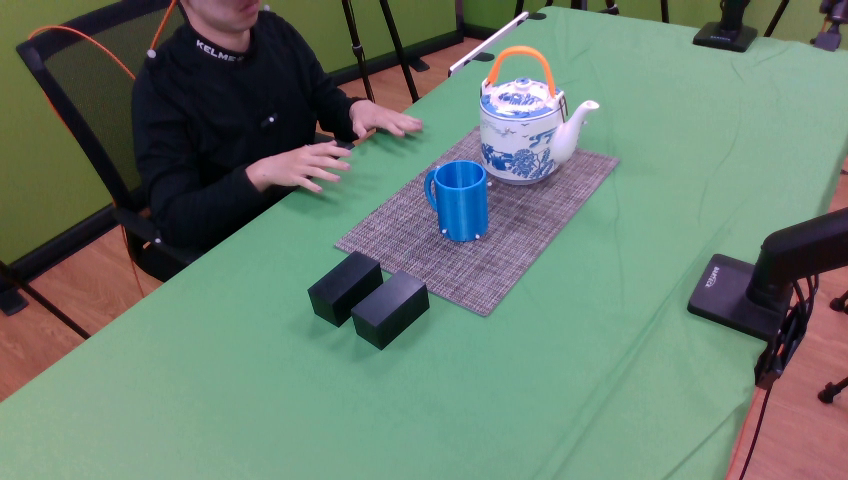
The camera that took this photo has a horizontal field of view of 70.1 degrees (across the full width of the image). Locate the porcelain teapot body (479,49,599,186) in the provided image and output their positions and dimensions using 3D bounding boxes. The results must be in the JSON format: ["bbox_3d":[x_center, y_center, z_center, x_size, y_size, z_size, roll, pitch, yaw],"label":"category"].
[{"bbox_3d":[0.192,-0.208,1.023,0.204,0.226,0.145,17,46,25],"label":"porcelain teapot body"}]

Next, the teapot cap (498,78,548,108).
[{"bbox_3d":[0.165,-0.246,1.010,0.085,0.044,0.084,-4,44,5],"label":"teapot cap"}]

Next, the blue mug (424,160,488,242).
[{"bbox_3d":[0.047,-0.067,0.970,0.115,0.106,0.082,22,49,30],"label":"blue mug"}]
